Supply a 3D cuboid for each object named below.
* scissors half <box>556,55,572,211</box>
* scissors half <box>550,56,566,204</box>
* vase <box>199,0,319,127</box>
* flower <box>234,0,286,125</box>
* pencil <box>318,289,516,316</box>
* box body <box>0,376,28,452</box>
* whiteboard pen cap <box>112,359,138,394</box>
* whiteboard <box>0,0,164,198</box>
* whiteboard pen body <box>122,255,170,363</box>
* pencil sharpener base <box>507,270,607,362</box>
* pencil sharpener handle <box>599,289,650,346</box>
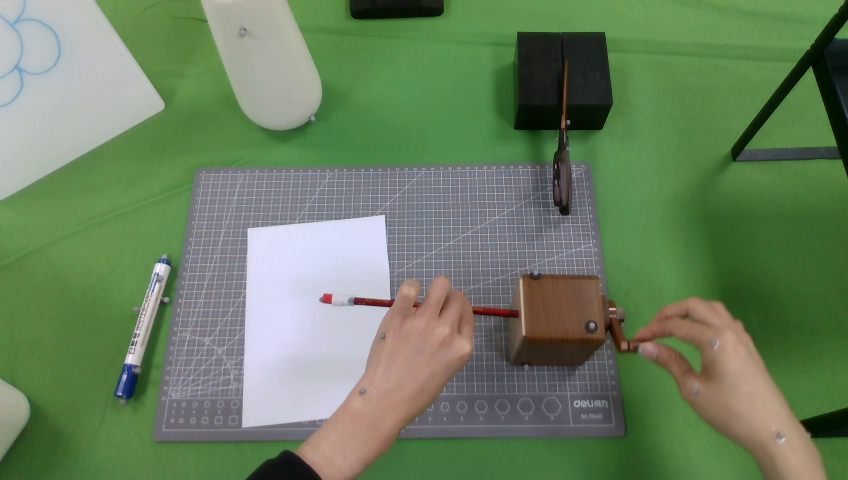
[{"bbox_3d":[0.152,-0.117,0.659,0.012,0.040,0.175,-1,86,26],"label":"scissors half"},{"bbox_3d":[0.144,-0.122,0.641,0.013,0.040,0.174,-1,68,21],"label":"scissors half"},{"bbox_3d":[-0.174,-0.208,0.639,0.098,0.201,0.097,-1,66,2],"label":"vase"},{"bbox_3d":[-0.184,-0.253,0.568,0.044,0.365,0.038,-8,49,2],"label":"flower"},{"bbox_3d":[0.003,0.057,0.537,0.194,0.012,0.012,5,67,-1],"label":"pencil"},{"bbox_3d":[-0.581,0.155,0.515,0.363,0.161,0.253,24,70,11],"label":"box body"},{"bbox_3d":[-0.291,0.133,0.593,0.018,0.018,0.033,5,63,4],"label":"whiteboard pen cap"},{"bbox_3d":[-0.468,-0.237,0.634,0.217,0.309,0.142,-33,51,-11],"label":"whiteboard"},{"bbox_3d":[-0.286,0.080,0.618,0.017,0.017,0.140,6,65,4],"label":"whiteboard pen body"},{"bbox_3d":[0.120,0.073,0.561,0.077,0.108,0.061,0,66,1],"label":"pencil sharpener base"},{"bbox_3d":[0.170,0.069,0.521,0.030,0.036,0.067,0,28,2],"label":"pencil sharpener handle"}]
